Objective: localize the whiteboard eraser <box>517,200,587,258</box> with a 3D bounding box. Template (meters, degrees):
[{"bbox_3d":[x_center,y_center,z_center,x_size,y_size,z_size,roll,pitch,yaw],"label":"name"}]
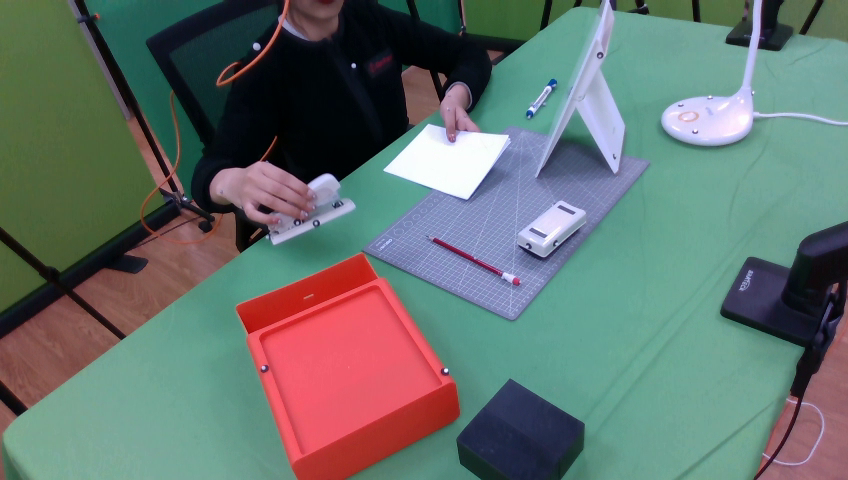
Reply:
[{"bbox_3d":[0.201,-0.016,0.943,0.113,0.042,0.055,-37,46,-29],"label":"whiteboard eraser"}]

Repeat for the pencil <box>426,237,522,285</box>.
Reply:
[{"bbox_3d":[0.072,0.028,0.941,0.192,0.012,0.012,26,52,37],"label":"pencil"}]

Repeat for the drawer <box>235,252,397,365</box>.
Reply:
[{"bbox_3d":[-0.125,0.132,0.804,0.195,0.073,0.210,-23,43,-17],"label":"drawer"}]

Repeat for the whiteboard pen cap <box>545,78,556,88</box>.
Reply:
[{"bbox_3d":[0.280,-0.344,1.335,0.018,0.018,0.033,15,45,26],"label":"whiteboard pen cap"}]

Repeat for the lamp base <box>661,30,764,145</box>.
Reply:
[{"bbox_3d":[0.535,-0.287,1.096,0.179,0.181,0.159,-10,40,-4],"label":"lamp base"}]

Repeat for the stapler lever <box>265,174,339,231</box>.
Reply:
[{"bbox_3d":[-0.175,-0.055,0.858,0.118,0.040,0.026,-28,25,-14],"label":"stapler lever"}]

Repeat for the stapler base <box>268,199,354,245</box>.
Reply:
[{"bbox_3d":[-0.165,-0.034,0.870,0.131,0.024,0.041,-27,24,-14],"label":"stapler base"}]

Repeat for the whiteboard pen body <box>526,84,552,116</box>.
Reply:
[{"bbox_3d":[0.251,-0.305,1.298,0.017,0.017,0.141,15,45,26],"label":"whiteboard pen body"}]

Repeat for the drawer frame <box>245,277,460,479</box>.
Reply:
[{"bbox_3d":[-0.093,0.167,0.755,0.202,0.083,0.211,-23,43,-17],"label":"drawer frame"}]

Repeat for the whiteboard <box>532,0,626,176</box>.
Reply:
[{"bbox_3d":[0.321,-0.258,1.050,0.144,0.306,0.217,21,45,5],"label":"whiteboard"}]
